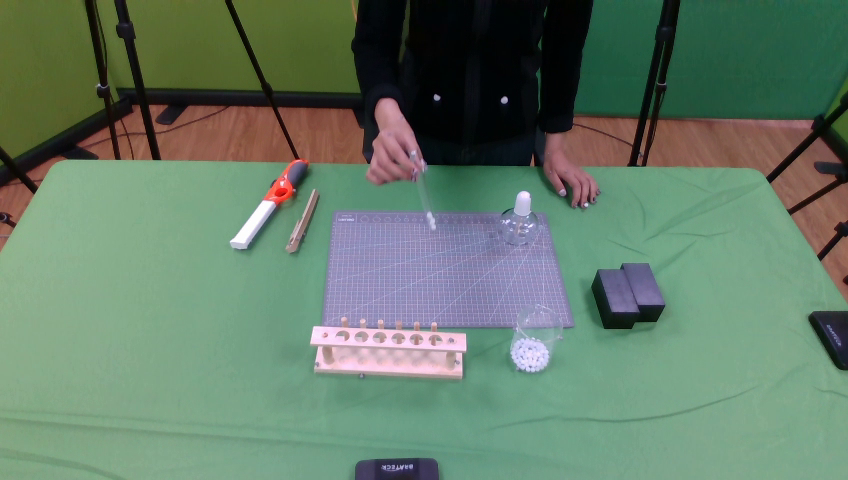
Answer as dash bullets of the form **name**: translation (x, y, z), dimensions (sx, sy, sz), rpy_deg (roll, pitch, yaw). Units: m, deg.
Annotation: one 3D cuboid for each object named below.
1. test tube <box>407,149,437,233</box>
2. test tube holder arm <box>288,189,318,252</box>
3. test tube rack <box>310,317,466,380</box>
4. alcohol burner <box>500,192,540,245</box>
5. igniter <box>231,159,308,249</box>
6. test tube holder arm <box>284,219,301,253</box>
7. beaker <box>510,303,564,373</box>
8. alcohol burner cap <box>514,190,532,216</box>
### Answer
- **test tube**: translation (-0.002, -0.075, 0.963), dimensions (0.017, 0.151, 0.017), rpy_deg (-11, 33, 7)
- **test tube holder arm**: translation (-0.242, -0.043, 1.223), dimensions (0.013, 0.015, 0.177), rpy_deg (-15, 39, 25)
- **test tube rack**: translation (-0.056, 0.171, 0.986), dimensions (0.242, 0.085, 0.066), rpy_deg (3, 45, -1)
- **alcohol burner**: translation (0.190, -0.048, 1.190), dimensions (0.078, 0.120, 0.077), rpy_deg (1, 47, -1)
- **igniter**: translation (-0.313, -0.082, 1.251), dimensions (0.057, 0.025, 0.275), rpy_deg (7, 45, 18)
- **test tube holder arm**: translation (-0.254, -0.010, 1.194), dimensions (0.010, 0.015, 0.087), rpy_deg (-14, 39, 26)
- **beaker**: translation (0.182, 0.164, 1.000), dimensions (0.074, 0.101, 0.083), rpy_deg (2, 45, -1)
- **alcohol burner cap**: translation (0.192, -0.074, 1.165), dimensions (0.034, 0.048, 0.033), rpy_deg (2, 40, -1)
